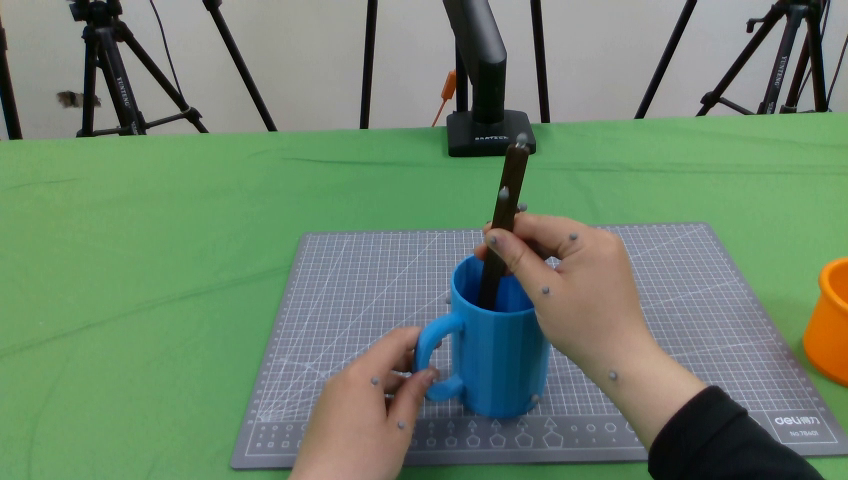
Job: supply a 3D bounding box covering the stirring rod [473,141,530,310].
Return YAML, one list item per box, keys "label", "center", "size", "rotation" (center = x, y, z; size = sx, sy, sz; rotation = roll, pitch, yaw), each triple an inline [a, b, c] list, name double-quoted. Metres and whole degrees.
- label: "stirring rod"
  center: [0.047, 0.010, 0.410]
  size: [0.014, 0.177, 0.006]
  rotation: [11, 41, 5]

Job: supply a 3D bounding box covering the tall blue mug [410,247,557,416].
- label: "tall blue mug"
  center: [0.049, 0.078, 0.453]
  size: [0.077, 0.109, 0.107]
  rotation: [20, 41, 26]
